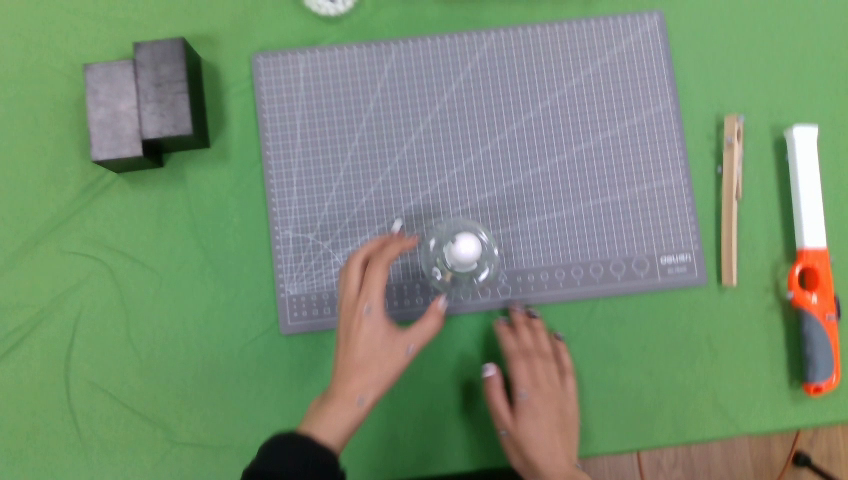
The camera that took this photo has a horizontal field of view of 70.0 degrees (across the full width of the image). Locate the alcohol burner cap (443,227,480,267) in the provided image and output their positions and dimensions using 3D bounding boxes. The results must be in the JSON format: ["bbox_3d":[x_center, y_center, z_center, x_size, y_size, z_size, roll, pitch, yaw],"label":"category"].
[{"bbox_3d":[0.035,0.005,0.545,0.034,0.048,0.033,1,78,-3],"label":"alcohol burner cap"}]

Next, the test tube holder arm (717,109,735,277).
[{"bbox_3d":[0.321,-0.050,0.644,0.013,0.015,0.178,7,85,-35],"label":"test tube holder arm"}]

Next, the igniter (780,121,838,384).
[{"bbox_3d":[0.404,0.011,0.638,0.057,0.025,0.276,-1,85,-11],"label":"igniter"}]

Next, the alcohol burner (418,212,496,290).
[{"bbox_3d":[0.033,0.008,0.581,0.078,0.119,0.077,0,83,-3],"label":"alcohol burner"}]

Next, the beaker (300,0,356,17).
[{"bbox_3d":[-0.103,-0.278,0.613,0.074,0.100,0.084,-4,85,-2],"label":"beaker"}]

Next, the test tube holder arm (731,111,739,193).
[{"bbox_3d":[0.329,-0.094,0.651,0.010,0.015,0.087,9,84,-35],"label":"test tube holder arm"}]
